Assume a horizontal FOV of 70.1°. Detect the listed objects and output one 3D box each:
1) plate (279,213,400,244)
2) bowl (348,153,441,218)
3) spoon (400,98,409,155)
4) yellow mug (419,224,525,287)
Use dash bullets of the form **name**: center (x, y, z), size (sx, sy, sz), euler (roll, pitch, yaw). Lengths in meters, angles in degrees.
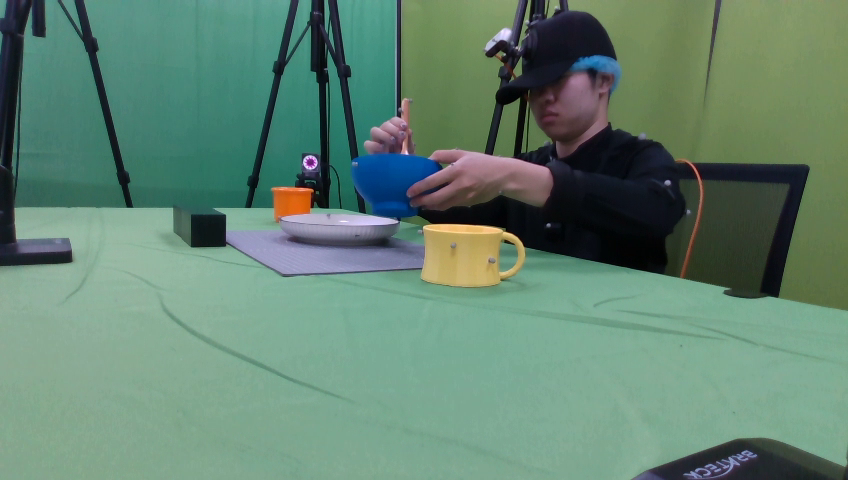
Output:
- **plate**: center (-0.147, -0.020, 1.060), size (0.209, 0.038, 0.209), euler (3, 7, 0)
- **bowl**: center (-0.049, -0.080, 0.964), size (0.151, 0.076, 0.151), euler (3, -8, 1)
- **spoon**: center (-0.034, -0.164, 1.003), size (0.041, 0.193, 0.022), euler (-5, -35, 4)
- **yellow mug**: center (0.060, 0.018, 0.746), size (0.131, 0.064, 0.100), euler (3, 7, -7)
